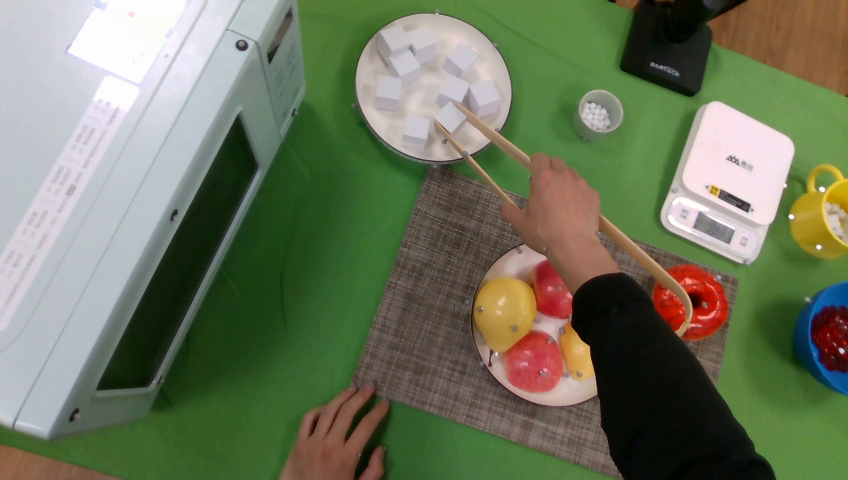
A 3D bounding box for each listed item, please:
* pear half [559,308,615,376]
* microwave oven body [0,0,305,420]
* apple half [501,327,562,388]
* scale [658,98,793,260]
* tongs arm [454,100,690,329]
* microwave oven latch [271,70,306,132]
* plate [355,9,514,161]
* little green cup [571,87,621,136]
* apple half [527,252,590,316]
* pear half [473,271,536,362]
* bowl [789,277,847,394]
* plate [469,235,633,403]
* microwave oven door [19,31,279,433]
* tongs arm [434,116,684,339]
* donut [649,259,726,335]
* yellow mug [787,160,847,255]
[{"bbox_3d":[0.204,0.126,0.753,0.070,0.031,0.087,19,74,9],"label":"pear half"},{"bbox_3d":[-0.360,-0.092,0.600,0.326,0.260,0.440,23,77,-4],"label":"microwave oven body"},{"bbox_3d":[0.134,0.142,0.737,0.081,0.033,0.081,3,72,-9],"label":"apple half"},{"bbox_3d":[0.420,-0.086,0.841,0.149,0.031,0.200,25,77,-3],"label":"scale"},{"bbox_3d":[0.152,-0.048,0.685,0.028,0.028,0.383,-36,60,-10],"label":"tongs arm"},{"bbox_3d":[-0.172,-0.175,0.744,0.030,0.029,0.079,26,77,-3],"label":"microwave oven latch"},{"bbox_3d":[0.013,-0.199,0.797,0.208,0.039,0.206,2,79,-9],"label":"plate"},{"bbox_3d":[0.231,-0.173,0.825,0.062,0.039,0.061,2,78,-8],"label":"little green cup"},{"bbox_3d":[0.169,0.052,0.751,0.075,0.053,0.080,9,81,-4],"label":"apple half"},{"bbox_3d":[0.097,0.094,0.727,0.077,0.056,0.109,15,81,-15],"label":"pear half"},{"bbox_3d":[0.541,0.127,0.795,0.152,0.077,0.150,2,80,-8],"label":"bowl"},{"bbox_3d":[0.156,0.097,0.758,0.209,0.038,0.208,2,79,-9],"label":"plate"},{"bbox_3d":[-0.241,0.002,0.595,0.039,0.244,0.354,23,76,-4],"label":"microwave oven door"},{"bbox_3d":[0.134,-0.033,0.682,0.051,0.027,0.381,-34,60,-5],"label":"tongs arm"},{"bbox_3d":[0.341,0.074,0.788,0.099,0.048,0.098,1,79,-5],"label":"donut"},{"bbox_3d":[0.565,-0.048,0.839,0.100,0.064,0.130,-12,80,-10],"label":"yellow mug"}]
